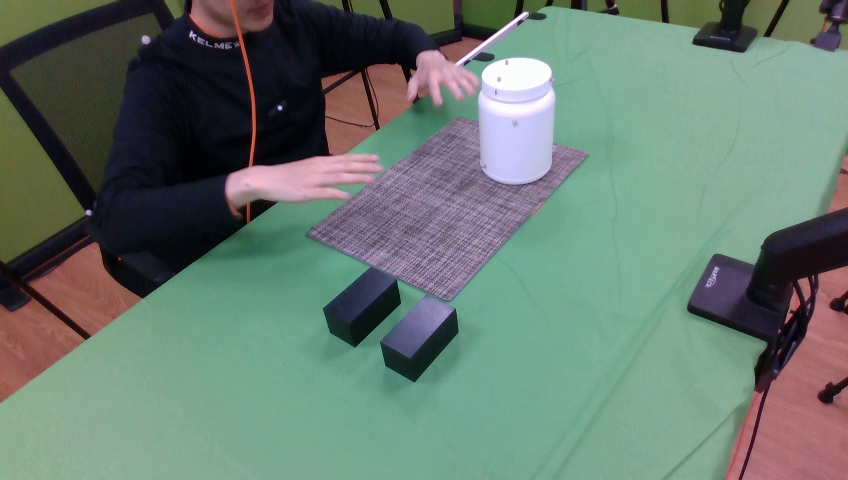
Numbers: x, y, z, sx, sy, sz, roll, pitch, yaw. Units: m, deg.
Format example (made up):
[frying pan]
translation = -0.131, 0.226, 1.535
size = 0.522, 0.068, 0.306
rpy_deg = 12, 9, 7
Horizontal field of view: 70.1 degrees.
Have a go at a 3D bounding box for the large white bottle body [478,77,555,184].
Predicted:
[large white bottle body]
translation = 0.161, -0.206, 1.054
size = 0.130, 0.185, 0.130
rpy_deg = -4, 41, 4

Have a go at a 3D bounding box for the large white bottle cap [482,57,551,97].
[large white bottle cap]
translation = 0.153, -0.270, 0.999
size = 0.115, 0.018, 0.114
rpy_deg = -3, 41, 3
